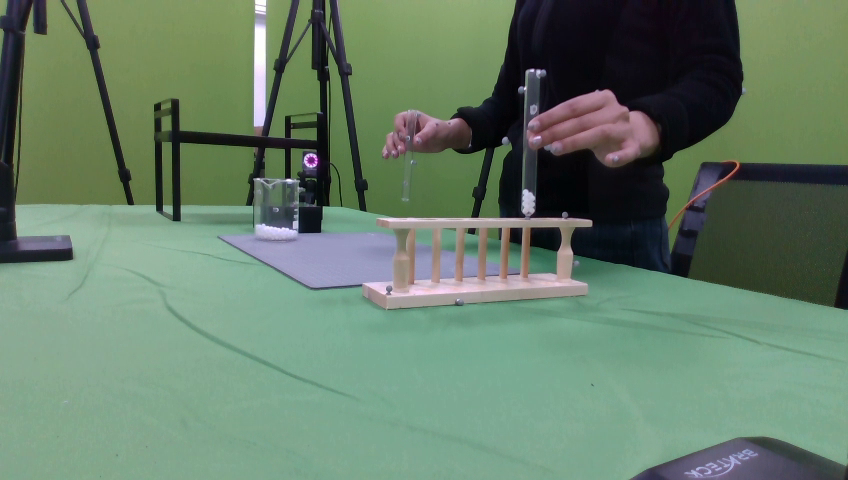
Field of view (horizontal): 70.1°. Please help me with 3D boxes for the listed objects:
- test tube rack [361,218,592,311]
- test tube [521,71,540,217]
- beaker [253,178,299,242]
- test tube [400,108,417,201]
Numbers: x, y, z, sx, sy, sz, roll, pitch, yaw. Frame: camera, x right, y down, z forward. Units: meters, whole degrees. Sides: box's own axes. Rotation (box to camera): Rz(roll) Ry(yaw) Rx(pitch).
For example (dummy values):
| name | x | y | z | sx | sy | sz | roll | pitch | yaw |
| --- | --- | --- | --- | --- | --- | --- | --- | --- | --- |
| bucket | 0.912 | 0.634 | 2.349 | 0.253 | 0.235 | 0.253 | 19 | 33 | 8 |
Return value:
| name | x | y | z | sx | sy | sz | roll | pitch | yaw |
| --- | --- | --- | --- | --- | --- | --- | --- | --- | --- |
| test tube rack | 0.060 | 0.018 | 0.640 | 0.243 | 0.085 | 0.066 | -1 | 9 | -27 |
| test tube | 0.111 | -0.099 | 0.631 | 0.017 | 0.150 | 0.017 | 1 | 6 | 0 |
| beaker | -0.243 | -0.050 | 0.990 | 0.074 | 0.100 | 0.084 | 2 | 9 | 1 |
| test tube | -0.026 | -0.138 | 0.985 | 0.017 | 0.150 | 0.017 | 5 | 9 | 0 |
